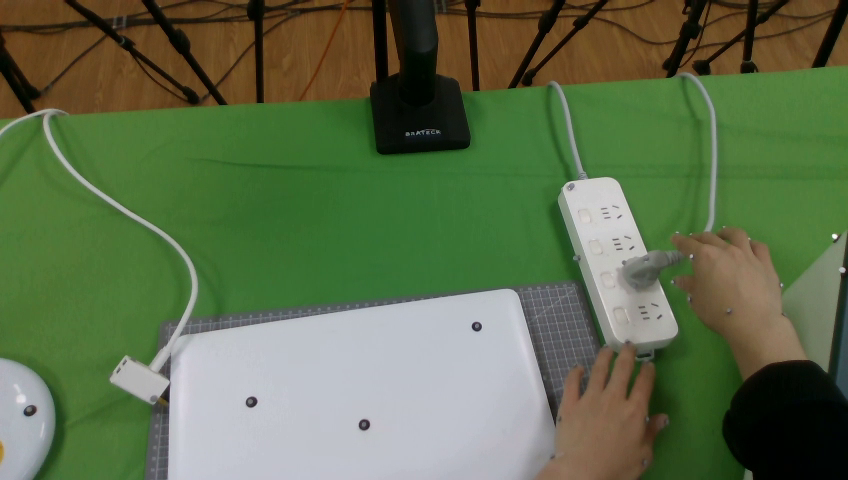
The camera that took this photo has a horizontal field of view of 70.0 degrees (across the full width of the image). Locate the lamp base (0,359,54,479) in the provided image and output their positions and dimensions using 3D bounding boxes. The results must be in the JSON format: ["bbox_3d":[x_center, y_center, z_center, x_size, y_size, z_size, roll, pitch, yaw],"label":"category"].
[{"bbox_3d":[-0.429,0.137,0.482,0.178,0.182,0.159,17,59,11],"label":"lamp base"}]

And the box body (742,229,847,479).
[{"bbox_3d":[0.433,0.188,0.513,0.253,0.161,0.362,24,60,11],"label":"box body"}]

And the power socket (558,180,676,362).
[{"bbox_3d":[0.210,0.024,0.675,0.072,0.033,0.224,-6,59,-8],"label":"power socket"}]

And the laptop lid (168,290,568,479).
[{"bbox_3d":[-0.055,0.174,0.563,0.357,0.013,0.239,-6,62,-7],"label":"laptop lid"}]

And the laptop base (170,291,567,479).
[{"bbox_3d":[-0.055,0.178,0.574,0.355,0.023,0.233,-7,63,-8],"label":"laptop base"}]

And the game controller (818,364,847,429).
[{"bbox_3d":[0.431,0.158,0.513,0.154,0.052,0.097,37,57,18],"label":"game controller"}]

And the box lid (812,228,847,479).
[{"bbox_3d":[0.437,0.148,0.450,0.262,0.015,0.369,23,60,11],"label":"box lid"}]

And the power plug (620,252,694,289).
[{"bbox_3d":[0.246,0.037,0.644,0.072,0.053,0.035,4,58,-3],"label":"power plug"}]

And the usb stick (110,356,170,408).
[{"bbox_3d":[-0.259,0.135,0.566,0.060,0.021,0.027,46,69,-28],"label":"usb stick"}]
